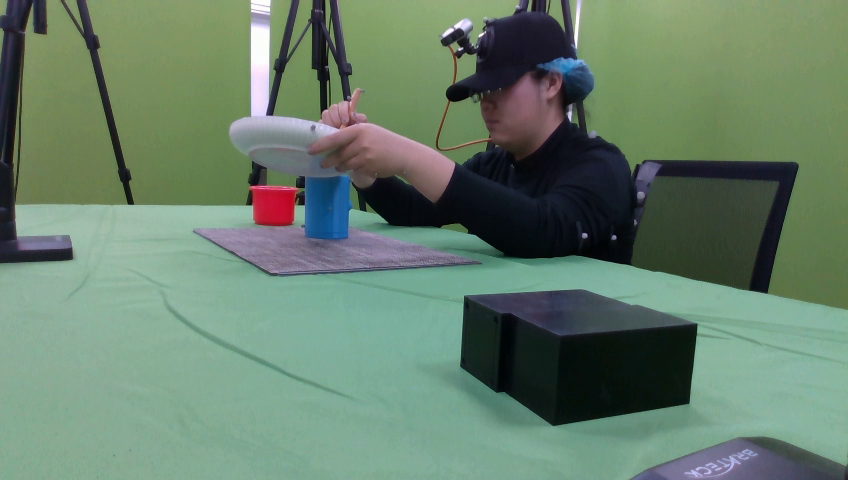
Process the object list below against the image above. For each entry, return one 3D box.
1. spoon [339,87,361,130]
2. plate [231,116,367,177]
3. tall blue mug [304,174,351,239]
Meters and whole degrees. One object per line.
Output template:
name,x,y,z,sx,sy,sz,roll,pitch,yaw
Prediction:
spoon,-0.146,-0.204,1.074,0.041,0.193,0.022,2,-39,21
plate,-0.194,-0.135,0.938,0.208,0.039,0.207,5,-10,1
tall blue mug,-0.178,-0.062,1.062,0.078,0.108,0.106,-5,10,-38
